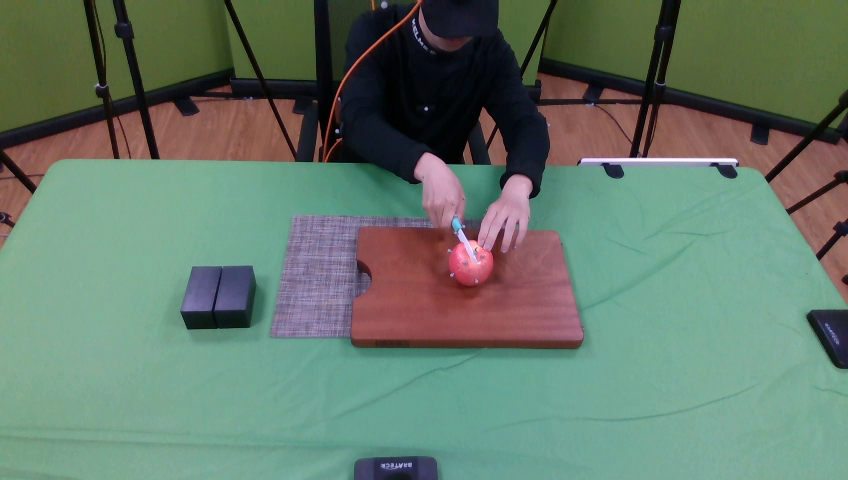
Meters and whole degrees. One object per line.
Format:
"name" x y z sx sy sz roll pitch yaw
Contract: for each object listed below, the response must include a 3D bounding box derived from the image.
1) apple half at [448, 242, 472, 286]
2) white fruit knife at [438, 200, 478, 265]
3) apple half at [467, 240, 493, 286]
"apple half" 0.059 0.048 1.084 0.033 0.081 0.080 -7 47 -15
"white fruit knife" 0.062 -0.018 1.103 0.016 0.027 0.206 -7 37 -16
"apple half" 0.096 0.042 1.093 0.053 0.075 0.080 -6 43 -15
